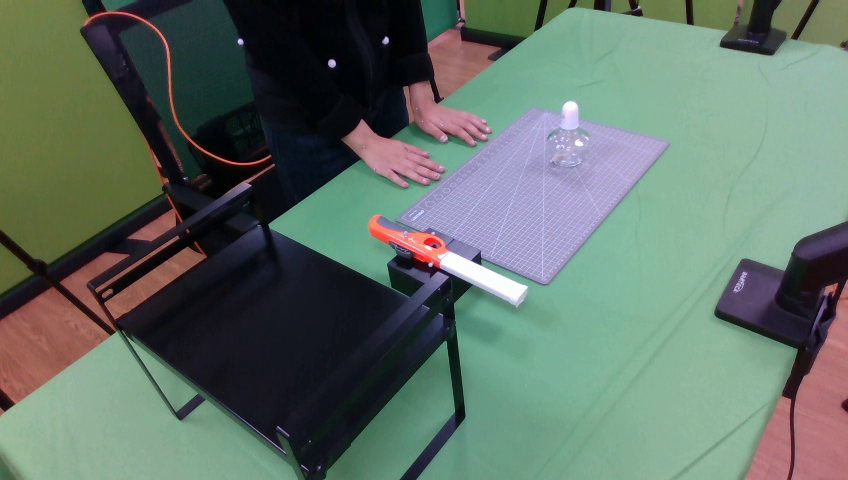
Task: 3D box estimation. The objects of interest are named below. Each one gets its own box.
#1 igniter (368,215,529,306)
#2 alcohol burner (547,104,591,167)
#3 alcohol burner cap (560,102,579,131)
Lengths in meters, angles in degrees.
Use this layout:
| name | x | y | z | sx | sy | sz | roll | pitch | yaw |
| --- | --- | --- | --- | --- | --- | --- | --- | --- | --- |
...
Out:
| name | x | y | z | sx | sy | sz | roll | pitch | yaw |
| --- | --- | --- | --- | --- | --- | --- | --- | --- | --- |
| igniter | 0.024 | 0.024 | 0.868 | 0.274 | 0.025 | 0.057 | 25 | 49 | 28 |
| alcohol burner | 0.261 | -0.192 | 1.087 | 0.078 | 0.119 | 0.077 | -5 | 42 | 5 |
| alcohol burner cap | 0.256 | -0.219 | 1.064 | 0.034 | 0.048 | 0.033 | -5 | 34 | 4 |
